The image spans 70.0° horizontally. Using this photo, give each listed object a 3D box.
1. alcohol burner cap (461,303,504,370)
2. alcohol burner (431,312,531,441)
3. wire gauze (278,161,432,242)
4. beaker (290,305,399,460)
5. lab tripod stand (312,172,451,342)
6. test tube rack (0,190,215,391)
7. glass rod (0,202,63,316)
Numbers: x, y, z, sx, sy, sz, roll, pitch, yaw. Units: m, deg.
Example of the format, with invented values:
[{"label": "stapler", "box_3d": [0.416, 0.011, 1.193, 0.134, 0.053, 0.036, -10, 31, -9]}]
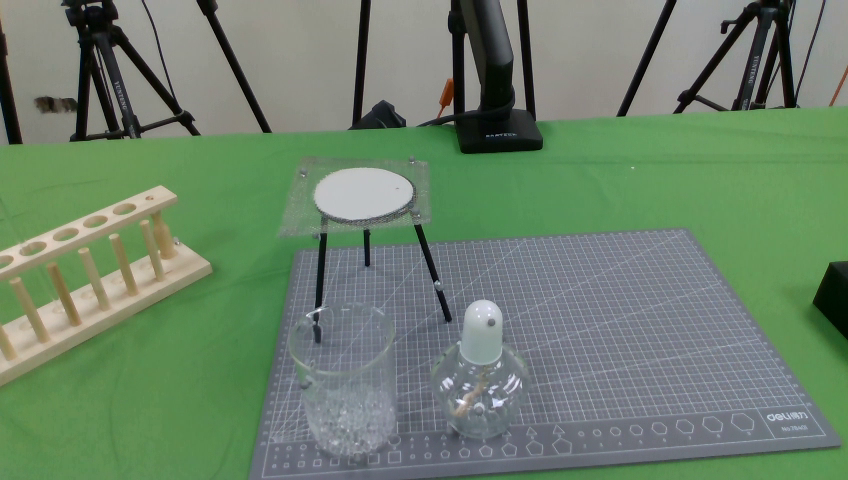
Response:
[{"label": "alcohol burner cap", "box_3d": [0.044, 0.067, 0.438, 0.034, 0.048, 0.033, 1, 37, 0]}, {"label": "alcohol burner", "box_3d": [0.044, 0.096, 0.459, 0.078, 0.120, 0.077, -1, 37, 1]}, {"label": "wire gauze", "box_3d": [-0.055, -0.038, 0.520, 0.121, 0.011, 0.124, -1, 36, -1]}, {"label": "beaker", "box_3d": [-0.058, 0.109, 0.457, 0.083, 0.101, 0.074, 25, 43, 33]}, {"label": "lab tripod stand", "box_3d": [-0.045, 0.015, 0.561, 0.148, 0.132, 0.147, 0, 34, 0]}, {"label": "test tube rack", "box_3d": [-0.332, 0.045, 0.576, 0.066, 0.086, 0.242, 27, 44, 34]}, {"label": "glass rod", "box_3d": [-0.369, -0.010, 0.541, 0.008, 0.201, 0.008, -6, 32, 4]}]
